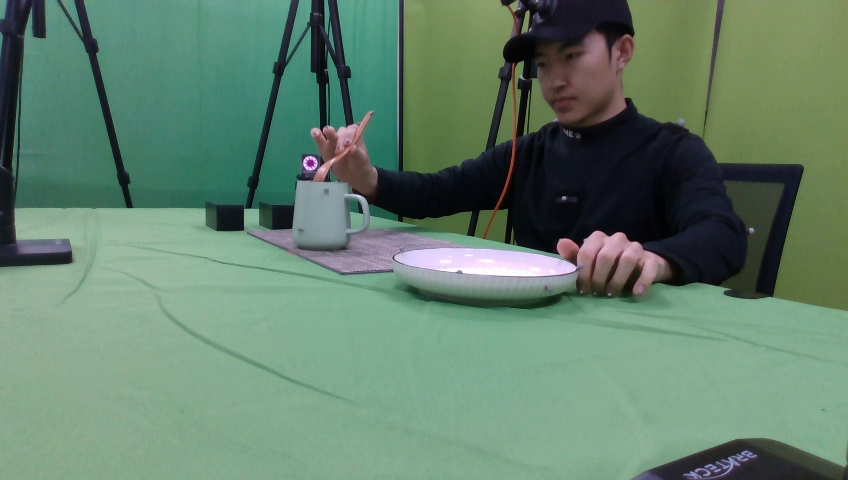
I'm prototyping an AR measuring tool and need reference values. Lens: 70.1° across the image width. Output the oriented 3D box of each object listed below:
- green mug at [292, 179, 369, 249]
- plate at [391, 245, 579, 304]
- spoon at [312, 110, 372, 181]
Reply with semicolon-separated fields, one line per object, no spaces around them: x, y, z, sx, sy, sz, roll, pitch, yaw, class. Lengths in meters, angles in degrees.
-0.144;-0.040;0.944;0.125;0.105;0.093;4;7;16;green mug
0.066;0.038;0.683;0.209;0.038;0.209;2;7;0;plate
-0.131;-0.149;0.983;0.041;0.022;0.194;-30;22;52;spoon
